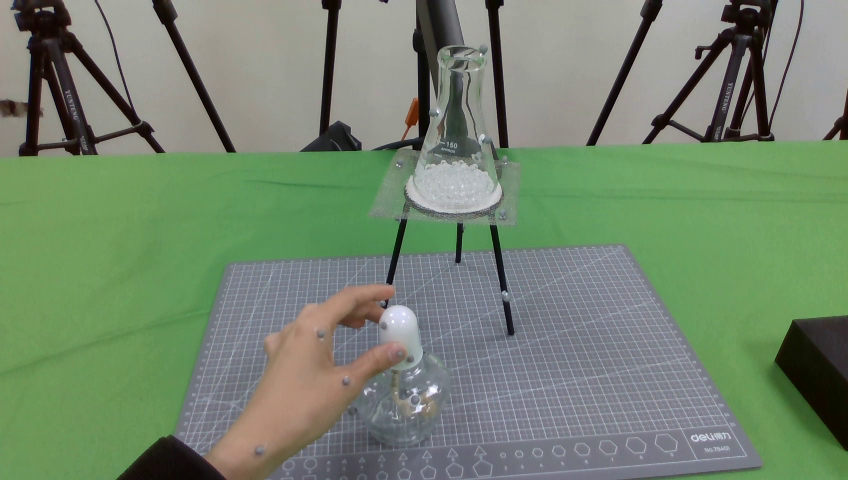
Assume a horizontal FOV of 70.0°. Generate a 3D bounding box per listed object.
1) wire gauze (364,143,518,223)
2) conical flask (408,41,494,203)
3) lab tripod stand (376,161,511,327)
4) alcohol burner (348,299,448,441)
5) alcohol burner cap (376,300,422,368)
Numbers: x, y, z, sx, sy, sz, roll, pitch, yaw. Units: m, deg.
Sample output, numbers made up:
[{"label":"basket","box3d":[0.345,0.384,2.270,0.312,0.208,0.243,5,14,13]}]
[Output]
[{"label":"wire gauze","box3d":[0.020,-0.051,0.535,0.121,0.011,0.124,6,38,7]},{"label":"conical flask","box3d":[0.025,-0.098,0.498,0.075,0.123,0.074,1,36,-1]},{"label":"lab tripod stand","box3d":[0.026,0.004,0.573,0.148,0.132,0.147,2,35,-1]},{"label":"alcohol burner","box3d":[-0.020,0.094,0.459,0.078,0.120,0.077,0,33,0]},{"label":"alcohol burner cap","box3d":[-0.019,0.065,0.437,0.034,0.048,0.033,-2,38,2]}]
